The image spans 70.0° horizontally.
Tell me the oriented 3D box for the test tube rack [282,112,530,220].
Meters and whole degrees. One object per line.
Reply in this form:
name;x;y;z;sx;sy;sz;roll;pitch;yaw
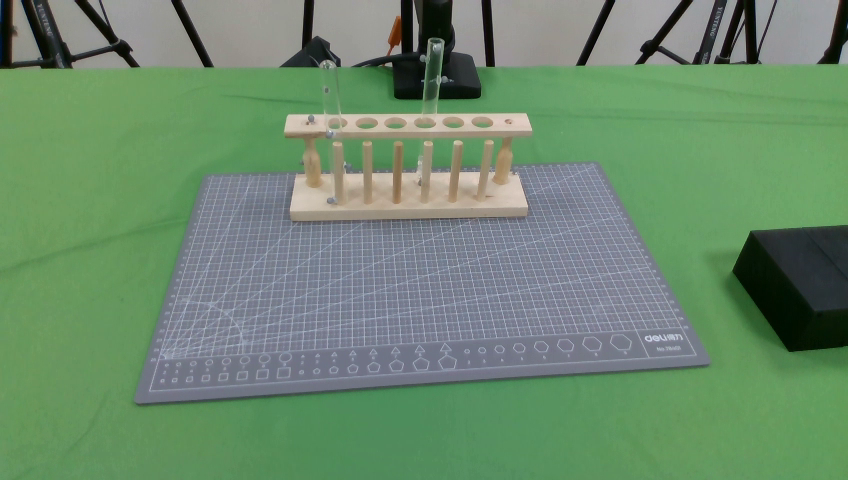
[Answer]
test tube rack;-0.017;-0.076;0.617;0.243;0.086;0.066;-1;41;-4

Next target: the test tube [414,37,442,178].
test tube;0.003;-0.125;0.599;0.017;0.151;0.017;4;39;-3

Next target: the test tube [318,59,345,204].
test tube;-0.086;-0.097;0.570;0.017;0.152;0.017;1;40;-1
